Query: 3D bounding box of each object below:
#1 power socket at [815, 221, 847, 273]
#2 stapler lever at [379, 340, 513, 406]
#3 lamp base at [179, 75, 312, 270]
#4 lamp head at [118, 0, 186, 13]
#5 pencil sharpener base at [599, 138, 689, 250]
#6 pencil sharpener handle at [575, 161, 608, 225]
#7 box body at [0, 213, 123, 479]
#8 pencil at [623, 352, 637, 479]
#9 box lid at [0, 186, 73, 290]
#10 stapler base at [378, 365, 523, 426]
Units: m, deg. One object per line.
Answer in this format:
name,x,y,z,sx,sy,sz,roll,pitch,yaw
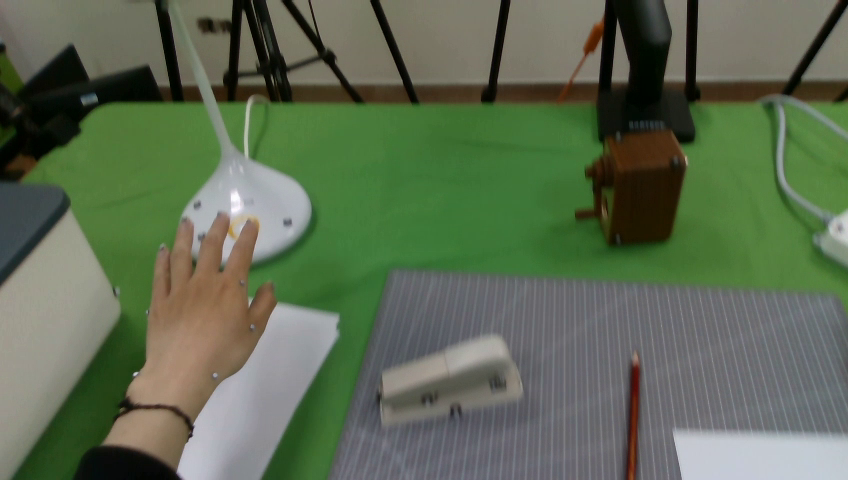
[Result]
power socket,0.491,0.046,0.566,0.072,0.033,0.224,-26,45,-20
stapler lever,0.018,0.114,0.522,0.118,0.040,0.026,-10,41,-3
lamp base,-0.229,-0.085,0.698,0.161,0.182,0.177,-18,41,-12
lamp head,-0.221,-0.258,0.474,0.112,0.123,0.112,-34,6,4
pencil sharpener base,0.227,-0.047,0.649,0.076,0.108,0.061,-5,43,3
pencil sharpener handle,0.175,-0.048,0.638,0.030,0.068,0.036,-5,21,3
box body,-0.471,0.127,0.511,0.253,0.162,0.361,3,43,11
pencil,0.167,0.166,0.492,0.012,0.012,0.192,7,43,16
box lid,-0.479,0.074,0.460,0.263,0.015,0.368,3,43,11
stapler base,0.022,0.131,0.539,0.130,0.025,0.041,-11,41,-2
